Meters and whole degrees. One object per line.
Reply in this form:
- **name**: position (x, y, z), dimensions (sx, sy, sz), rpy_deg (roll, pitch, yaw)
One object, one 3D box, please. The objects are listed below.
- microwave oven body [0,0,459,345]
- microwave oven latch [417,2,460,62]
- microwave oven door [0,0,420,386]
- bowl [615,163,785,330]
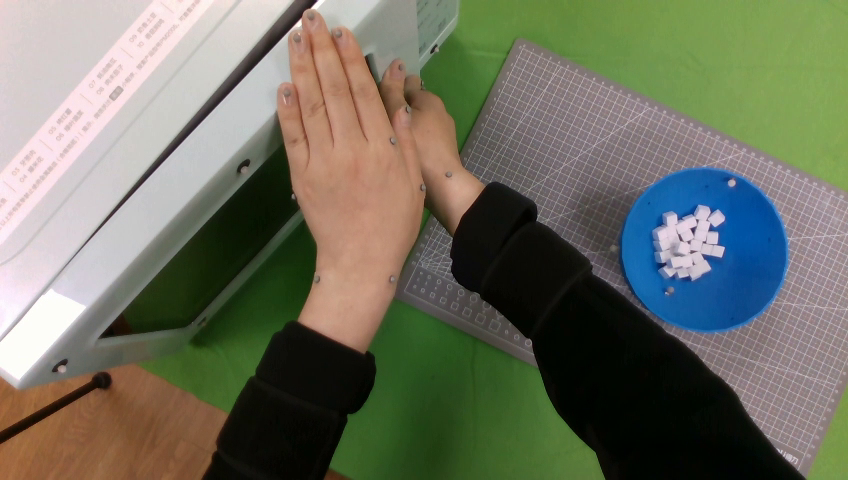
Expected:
- **microwave oven body**: position (-0.227, -0.172, 0.499), dimensions (0.326, 0.260, 0.441), rpy_deg (40, 88, 2)
- **microwave oven latch**: position (0.002, -0.206, 0.598), dimensions (0.030, 0.029, 0.079), rpy_deg (42, 88, 2)
- **microwave oven door**: position (-0.136, -0.042, 0.485), dimensions (0.039, 0.244, 0.355), rpy_deg (42, 87, 3)
- **bowl**: position (0.249, 0.008, 0.580), dimensions (0.151, 0.077, 0.151), rpy_deg (0, 86, 1)
